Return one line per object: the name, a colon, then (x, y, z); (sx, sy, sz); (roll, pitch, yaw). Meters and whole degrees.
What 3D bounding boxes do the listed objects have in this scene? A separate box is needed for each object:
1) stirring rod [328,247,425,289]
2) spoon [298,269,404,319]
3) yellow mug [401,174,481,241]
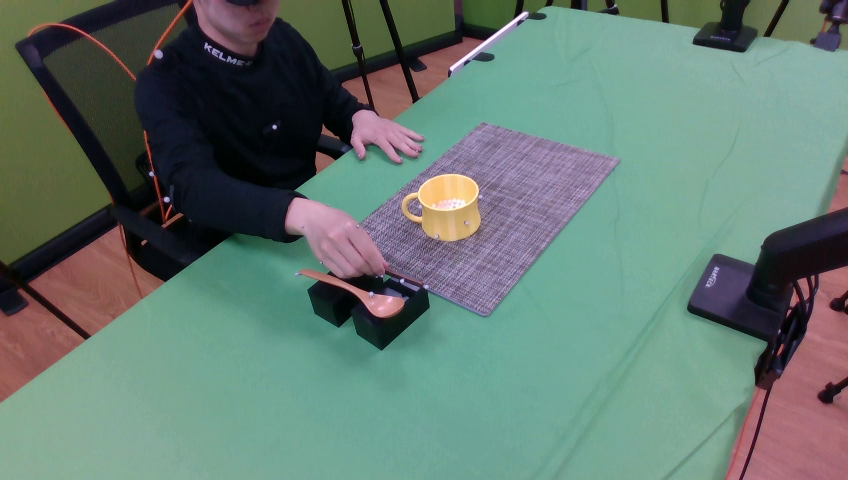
stirring rod: (-0.071, 0.038, 0.857); (0.175, 0.014, 0.006); (19, 66, 31)
spoon: (-0.106, 0.068, 0.830); (0.192, 0.022, 0.042); (21, 48, 32)
yellow mug: (0.026, -0.054, 0.989); (0.130, 0.064, 0.099); (-1, 41, 8)
